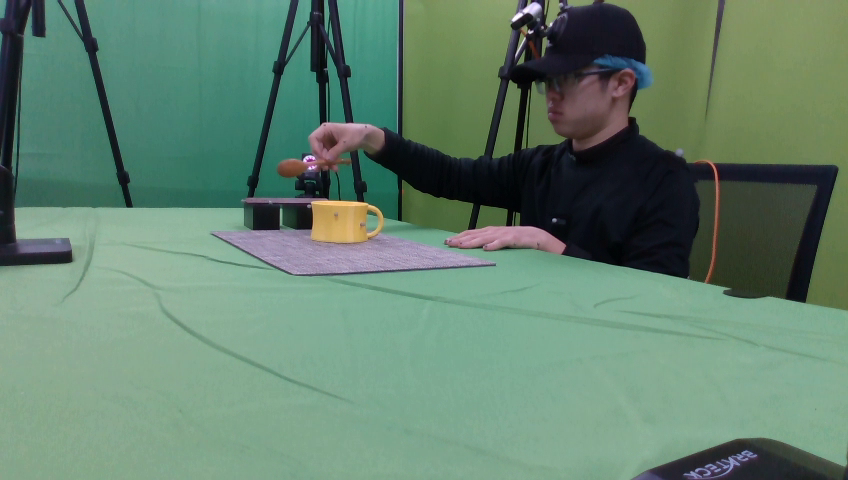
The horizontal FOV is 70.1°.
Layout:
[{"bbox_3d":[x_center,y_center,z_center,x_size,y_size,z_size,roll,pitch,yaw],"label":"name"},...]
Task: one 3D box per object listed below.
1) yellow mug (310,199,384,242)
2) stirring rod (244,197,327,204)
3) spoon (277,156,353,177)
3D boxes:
[{"bbox_3d":[-0.132,-0.035,1.054,0.131,0.064,0.099,0,7,-23],"label":"yellow mug"},{"bbox_3d":[-0.270,-0.078,1.200,0.177,0.006,0.014,-2,44,-37],"label":"stirring rod"},{"bbox_3d":[-0.207,-0.151,1.181,0.021,0.041,0.194,36,31,21],"label":"spoon"}]
